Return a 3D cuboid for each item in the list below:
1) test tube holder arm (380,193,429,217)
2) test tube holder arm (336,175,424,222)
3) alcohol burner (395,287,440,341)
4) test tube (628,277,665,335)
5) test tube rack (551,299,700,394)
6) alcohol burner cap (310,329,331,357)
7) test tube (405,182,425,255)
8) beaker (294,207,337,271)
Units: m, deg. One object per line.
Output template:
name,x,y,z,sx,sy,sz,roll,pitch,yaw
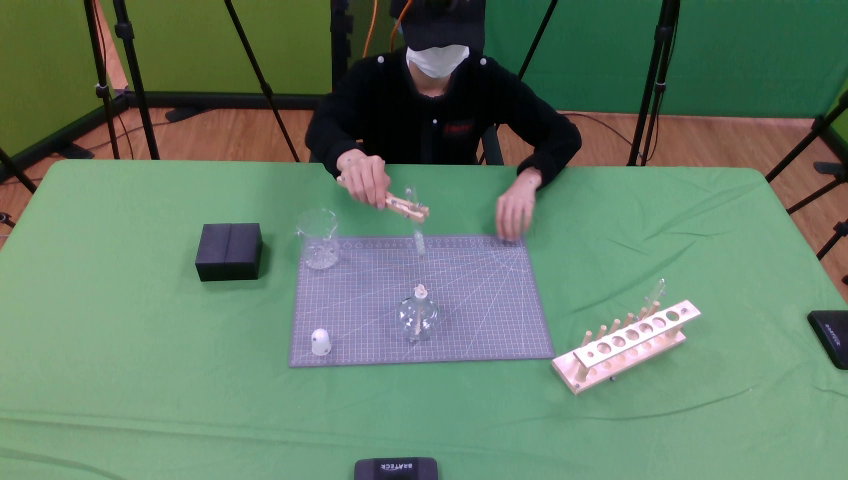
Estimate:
test tube holder arm,-0.033,-0.056,0.952,0.087,0.015,0.010,18,49,22
test tube holder arm,-0.073,-0.068,0.968,0.177,0.015,0.013,24,51,27
alcohol burner,-0.010,0.116,1.018,0.078,0.119,0.077,3,47,-3
test tube,0.371,0.112,1.014,0.017,0.151,0.017,3,47,-3
test tube rack,0.339,0.166,1.021,0.242,0.085,0.066,-19,50,-21
alcohol burner cap,-0.173,0.168,1.004,0.034,0.048,0.033,2,46,-2
test tube,-0.013,-0.030,0.955,0.017,0.151,0.017,-4,45,5
beaker,-0.196,0.003,1.122,0.074,0.101,0.083,-23,52,-24
